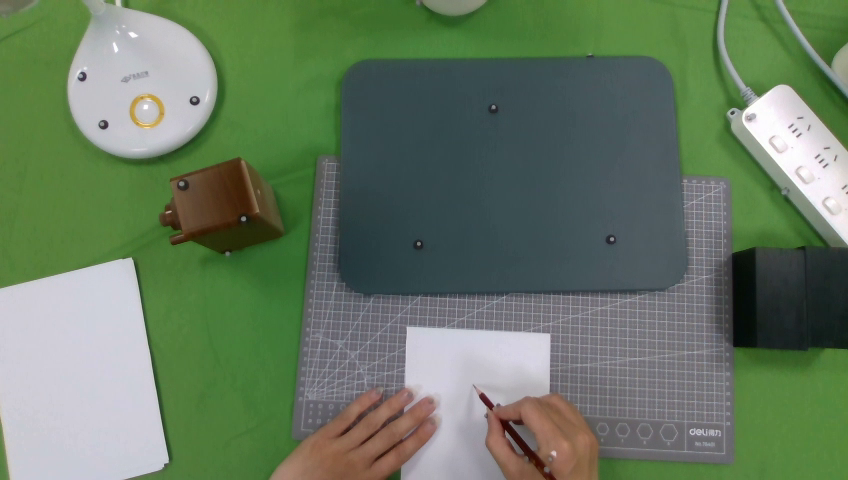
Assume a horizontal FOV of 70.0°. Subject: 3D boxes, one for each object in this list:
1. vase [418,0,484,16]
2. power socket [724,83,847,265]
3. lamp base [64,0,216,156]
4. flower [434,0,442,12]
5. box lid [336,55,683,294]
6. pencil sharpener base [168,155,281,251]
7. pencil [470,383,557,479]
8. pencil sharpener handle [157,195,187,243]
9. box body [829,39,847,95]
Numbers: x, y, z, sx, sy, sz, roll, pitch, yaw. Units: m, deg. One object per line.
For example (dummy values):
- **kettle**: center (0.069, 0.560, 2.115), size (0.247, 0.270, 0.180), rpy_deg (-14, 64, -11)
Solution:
- **vase**: center (0.031, -0.310, 0.597), size (0.098, 0.200, 0.098), rpy_deg (0, 80, -1)
- **power socket**: center (0.420, -0.070, 0.649), size (0.072, 0.033, 0.226), rpy_deg (-37, 83, -6)
- **lamp base**: center (-0.313, -0.192, 0.583), size (0.160, 0.181, 0.178), rpy_deg (-28, 80, -5)
- **flower**: center (0.042, -0.337, 0.518), size (0.044, 0.363, 0.038), rpy_deg (-23, 70, -20)
- **box lid**: center (0.092, -0.074, 0.656), size (0.372, 0.015, 0.262), rpy_deg (-1, 81, -1)
- **pencil sharpener base**: center (-0.195, -0.032, 0.598), size (0.077, 0.107, 0.061), rpy_deg (-18, 82, -3)
- **pencil**: center (0.087, 0.183, 0.541), size (0.012, 0.192, 0.012), rpy_deg (-11, 116, -22)
- **pencil sharpener handle**: center (-0.242, -0.016, 0.582), size (0.030, 0.068, 0.035), rpy_deg (-18, 69, -3)
- **box body**: center (0.639, -0.151, 0.598), size (0.254, 0.161, 0.363), rpy_deg (-40, 84, -6)
